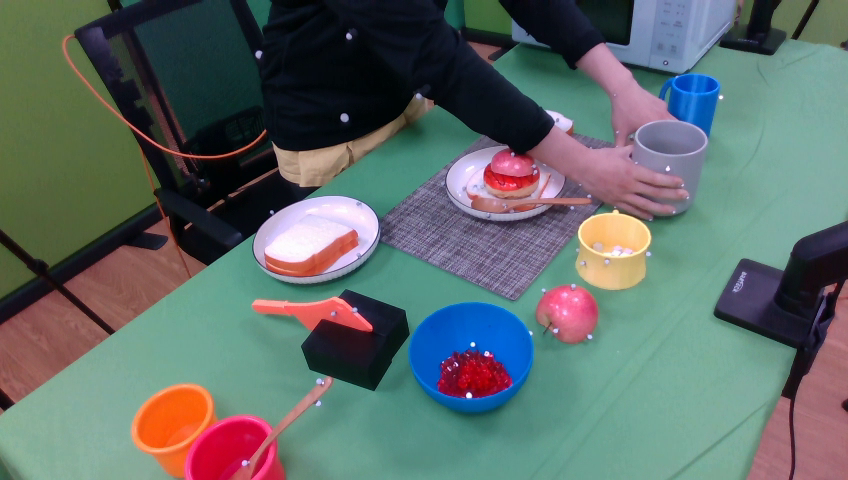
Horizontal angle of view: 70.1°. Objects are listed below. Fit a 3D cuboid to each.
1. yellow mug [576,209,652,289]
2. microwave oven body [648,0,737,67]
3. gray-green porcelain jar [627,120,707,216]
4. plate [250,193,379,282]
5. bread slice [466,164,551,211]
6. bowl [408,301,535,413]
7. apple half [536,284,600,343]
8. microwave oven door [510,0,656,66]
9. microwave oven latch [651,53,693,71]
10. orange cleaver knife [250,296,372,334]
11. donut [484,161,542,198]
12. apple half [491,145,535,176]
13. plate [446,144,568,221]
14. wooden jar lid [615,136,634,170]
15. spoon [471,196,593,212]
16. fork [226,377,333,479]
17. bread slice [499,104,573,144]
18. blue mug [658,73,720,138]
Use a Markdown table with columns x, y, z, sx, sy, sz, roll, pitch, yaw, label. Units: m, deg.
| x | y | z | sx | sy | sz | roll | pitch | yaw | label |
| --- | --- | --- | --- | --- | --- | --- | --- | --- | --- |
| 0.279 | 0.004 | 0.893 | 0.099 | 0.064 | 0.130 | 5 | 42 | 14 | yellow mug |
| 0.475 | -0.602 | 1.411 | 0.438 | 0.261 | 0.327 | 23 | 50 | 32 | microwave oven body |
| 0.383 | -0.110 | 0.964 | 0.106 | 0.127 | 0.105 | -4 | 41 | 4 | gray-green porcelain jar |
| -0.174 | -0.001 | 0.984 | 0.209 | 0.038 | 0.208 | -4 | 40 | 4 | plate |
| 0.141 | -0.092 | 1.043 | 0.134 | 0.018 | 0.107 | 11 | 43 | 18 | bread slice |
| 0.060 | 0.156 | 0.739 | 0.151 | 0.077 | 0.150 | -4 | 40 | 4 | bowl |
| 0.196 | 0.091 | 0.815 | 0.075 | 0.053 | 0.080 | -22 | 42 | -20 | apple half |
| 0.350 | -0.539 | 1.348 | 0.353 | 0.245 | 0.039 | 24 | 50 | 31 | microwave oven door |
| 0.532 | -0.386 | 1.301 | 0.078 | 0.029 | 0.030 | 27 | 52 | 34 | microwave oven latch |
| -0.158 | 0.103 | 0.828 | 0.210 | 0.078 | 0.012 | -4 | 43 | 39 | orange cleaver knife |
| 0.149 | -0.109 | 1.016 | 0.099 | 0.048 | 0.098 | -4 | 40 | 4 | donut |
| 0.147 | -0.138 | 0.994 | 0.081 | 0.033 | 0.081 | 1 | 38 | 0 | apple half |
| 0.142 | -0.097 | 1.045 | 0.207 | 0.039 | 0.206 | -4 | 40 | 4 | plate |
| 0.397 | -0.151 | 1.086 | 0.108 | 0.021 | 0.108 | 0 | 42 | 1 | wooden jar lid |
| 0.172 | -0.060 | 0.974 | 0.193 | 0.022 | 0.041 | -3 | 43 | 18 | spoon |
| -0.163 | 0.216 | 0.647 | 0.207 | 0.019 | 0.028 | -49 | 42 | 16 | fork |
| 0.232 | -0.232 | 1.206 | 0.105 | 0.019 | 0.130 | -36 | 46 | -28 | bread slice |
| 0.483 | -0.250 | 1.127 | 0.082 | 0.106 | 0.115 | -26 | 44 | -19 | blue mug |
